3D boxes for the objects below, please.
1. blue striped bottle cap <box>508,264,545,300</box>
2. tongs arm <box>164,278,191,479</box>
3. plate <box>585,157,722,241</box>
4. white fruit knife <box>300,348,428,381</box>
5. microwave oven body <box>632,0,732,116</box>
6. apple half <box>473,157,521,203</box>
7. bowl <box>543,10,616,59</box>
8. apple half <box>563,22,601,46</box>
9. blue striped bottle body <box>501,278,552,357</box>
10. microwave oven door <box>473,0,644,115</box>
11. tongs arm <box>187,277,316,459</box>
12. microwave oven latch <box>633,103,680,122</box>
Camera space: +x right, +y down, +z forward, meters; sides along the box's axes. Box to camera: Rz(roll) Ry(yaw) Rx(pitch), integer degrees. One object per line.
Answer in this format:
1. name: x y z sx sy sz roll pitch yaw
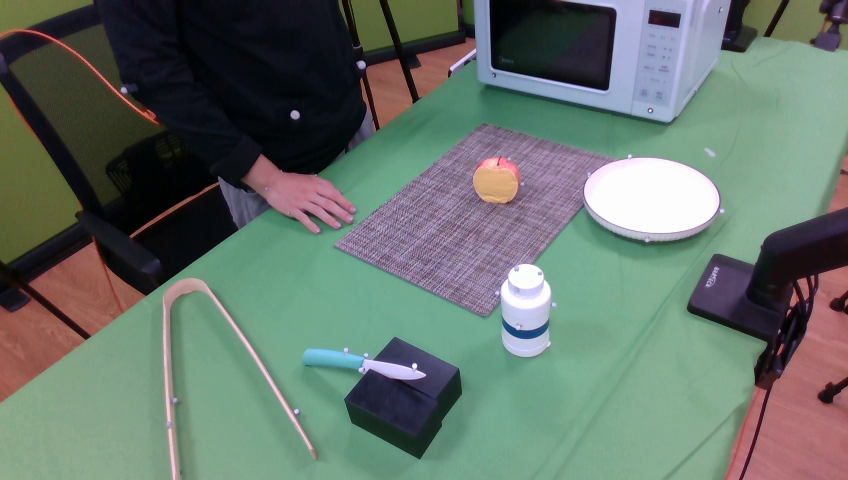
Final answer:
1. blue striped bottle cap: 0.125 0.050 0.735 0.044 0.021 0.044 -5 39 5
2. tongs arm: -0.313 0.182 0.789 0.051 0.026 0.381 -19 41 -14
3. plate: 0.367 -0.063 0.979 0.207 0.039 0.206 -4 40 4
4. white fruit knife: -0.079 0.154 0.748 0.206 0.027 0.016 1 20 35
5. microwave oven body: 0.377 -0.462 1.267 0.438 0.261 0.327 21 48 30
6. apple half: 0.128 -0.107 1.030 0.080 0.075 0.053 4 38 19
7. bowl: 0.336 -0.439 1.306 0.151 0.077 0.151 -8 30 5
8. apple half: 0.335 -0.448 1.299 0.081 0.033 0.081 -16 33 11
9. blue striped bottle body: 0.130 0.088 0.769 0.063 0.121 0.063 -4 41 4
10. microwave oven door: 0.257 -0.396 1.199 0.353 0.245 0.039 21 48 29
11. tongs arm: -0.241 0.154 0.815 0.028 0.028 0.384 -31 46 -21
12. microwave oven latch: 0.444 -0.249 1.157 0.078 0.029 0.030 21 48 30
